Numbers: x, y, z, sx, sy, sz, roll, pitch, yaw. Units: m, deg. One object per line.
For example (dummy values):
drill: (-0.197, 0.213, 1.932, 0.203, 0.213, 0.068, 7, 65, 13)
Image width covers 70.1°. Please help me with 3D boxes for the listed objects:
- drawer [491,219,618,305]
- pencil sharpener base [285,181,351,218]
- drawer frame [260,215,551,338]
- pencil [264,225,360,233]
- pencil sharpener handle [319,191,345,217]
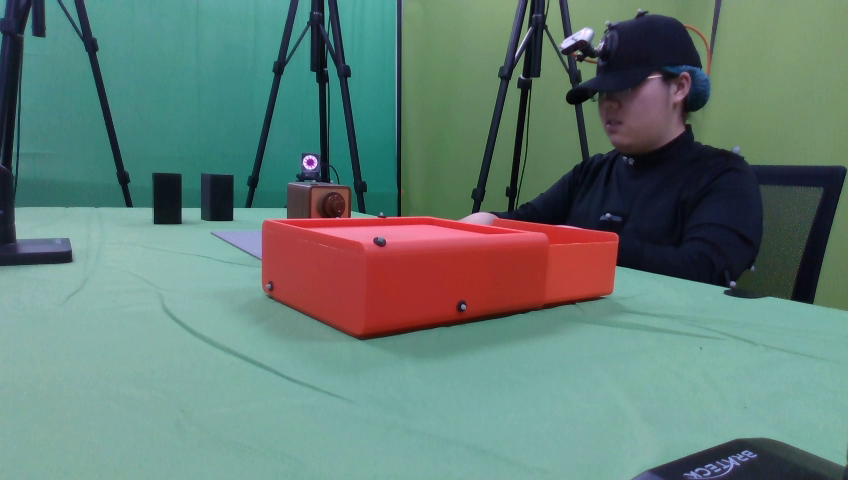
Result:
drawer: (0.071, 0.021, 0.670, 0.213, 0.073, 0.193, -3, 10, -39)
pencil sharpener base: (-0.139, -0.021, 0.789, 0.062, 0.107, 0.076, -2, 9, -36)
drawer frame: (-0.021, 0.023, 0.595, 0.215, 0.082, 0.200, -4, 10, -38)
pencil: (-0.212, -0.021, 1.157, 0.195, 0.012, 0.012, -3, 9, -32)
pencil sharpener handle: (-0.107, -0.026, 0.748, 0.036, 0.067, 0.030, -6, 11, -36)
